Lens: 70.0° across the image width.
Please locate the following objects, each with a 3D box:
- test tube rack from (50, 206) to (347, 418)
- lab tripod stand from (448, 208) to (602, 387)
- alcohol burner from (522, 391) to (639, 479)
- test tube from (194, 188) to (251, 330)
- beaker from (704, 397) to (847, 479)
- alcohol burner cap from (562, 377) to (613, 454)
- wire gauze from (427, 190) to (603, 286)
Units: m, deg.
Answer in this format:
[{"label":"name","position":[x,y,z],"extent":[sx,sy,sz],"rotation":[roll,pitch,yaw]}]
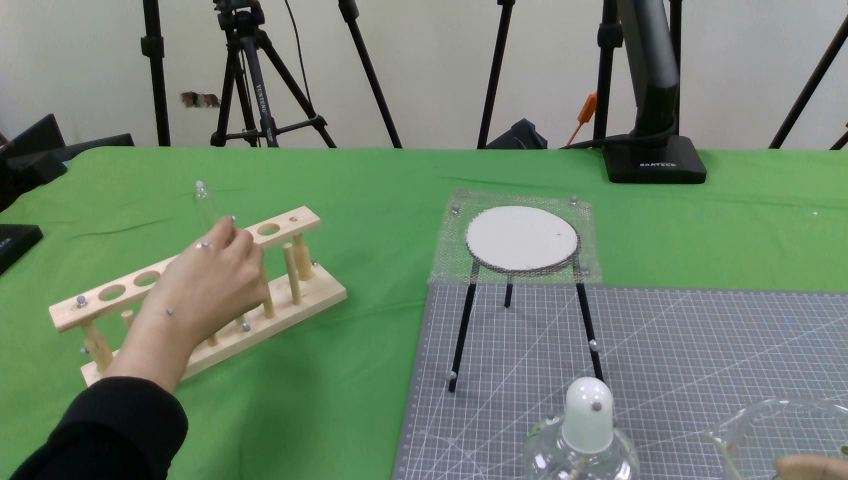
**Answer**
[{"label":"test tube rack","position":[-0.198,0.058,0.570],"extent":[0.243,0.086,0.066],"rotation":[-25,40,-28]},{"label":"lab tripod stand","position":[0.084,0.051,0.508],"extent":[0.148,0.132,0.147],"rotation":[-1,34,1]},{"label":"alcohol burner","position":[0.104,0.136,0.400],"extent":[0.078,0.120,0.077],"rotation":[-2,37,2]},{"label":"test tube","position":[-0.178,0.021,0.538],"extent":[0.017,0.151,0.017],"rotation":[-3,35,2]},{"label":"beaker","position":[0.168,0.133,0.274],"extent":[0.083,0.101,0.074],"rotation":[11,33,34]},{"label":"alcohol burner cap","position":[0.103,0.107,0.379],"extent":[0.034,0.048,0.033],"rotation":[-4,34,3]},{"label":"wire gauze","position":[0.071,-0.003,0.468],"extent":[0.121,0.011,0.124],"rotation":[4,36,9]}]
